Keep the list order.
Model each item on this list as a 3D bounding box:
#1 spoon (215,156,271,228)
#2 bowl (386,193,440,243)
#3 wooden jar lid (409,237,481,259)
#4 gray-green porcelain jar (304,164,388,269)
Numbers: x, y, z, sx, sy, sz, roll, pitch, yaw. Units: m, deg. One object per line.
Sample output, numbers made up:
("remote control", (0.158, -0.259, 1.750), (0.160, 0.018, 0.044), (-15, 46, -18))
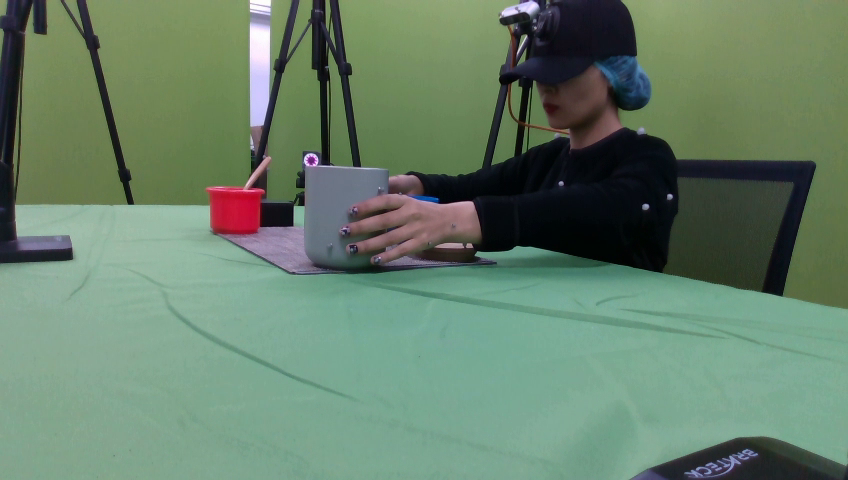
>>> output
("spoon", (-0.319, -0.090, 1.091), (0.041, 0.022, 0.193), (7, 52, 17))
("bowl", (-0.050, -0.038, 1.033), (0.151, 0.077, 0.151), (3, 7, 0))
("wooden jar lid", (0.031, 0.012, 0.895), (0.108, 0.020, 0.108), (2, 8, 0))
("gray-green porcelain jar", (-0.099, -0.031, 0.770), (0.106, 0.126, 0.106), (2, 7, 0))
